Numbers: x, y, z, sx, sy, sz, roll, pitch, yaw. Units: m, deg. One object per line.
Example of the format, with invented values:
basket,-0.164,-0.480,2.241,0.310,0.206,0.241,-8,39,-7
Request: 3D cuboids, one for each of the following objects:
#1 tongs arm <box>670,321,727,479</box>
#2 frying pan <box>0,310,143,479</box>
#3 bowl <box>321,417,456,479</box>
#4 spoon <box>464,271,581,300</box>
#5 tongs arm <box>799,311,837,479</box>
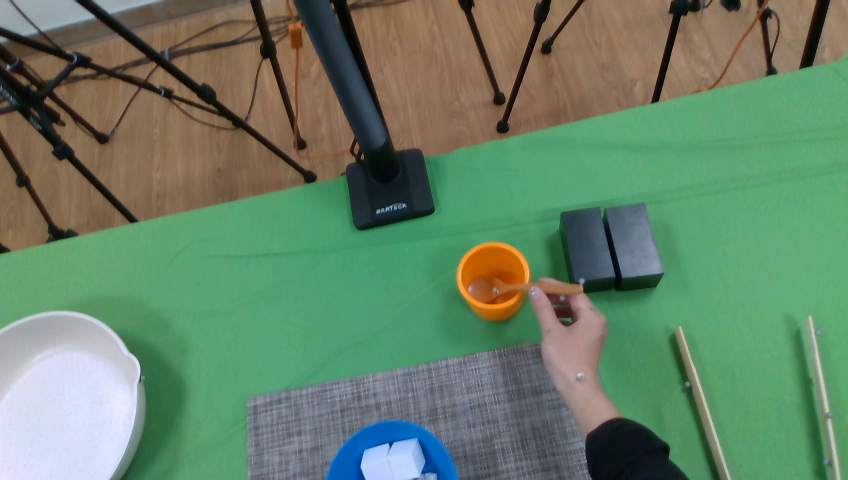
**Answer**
tongs arm,0.345,0.274,0.673,0.028,0.028,0.384,-12,65,2
frying pan,-0.456,0.314,0.732,0.307,0.104,0.482,-27,57,-3
bowl,-0.034,0.284,0.691,0.151,0.077,0.150,-3,66,7
spoon,0.113,0.056,0.736,0.022,0.193,0.041,30,72,-26
tongs arm,0.424,0.265,0.659,0.050,0.027,0.382,-1,68,10
